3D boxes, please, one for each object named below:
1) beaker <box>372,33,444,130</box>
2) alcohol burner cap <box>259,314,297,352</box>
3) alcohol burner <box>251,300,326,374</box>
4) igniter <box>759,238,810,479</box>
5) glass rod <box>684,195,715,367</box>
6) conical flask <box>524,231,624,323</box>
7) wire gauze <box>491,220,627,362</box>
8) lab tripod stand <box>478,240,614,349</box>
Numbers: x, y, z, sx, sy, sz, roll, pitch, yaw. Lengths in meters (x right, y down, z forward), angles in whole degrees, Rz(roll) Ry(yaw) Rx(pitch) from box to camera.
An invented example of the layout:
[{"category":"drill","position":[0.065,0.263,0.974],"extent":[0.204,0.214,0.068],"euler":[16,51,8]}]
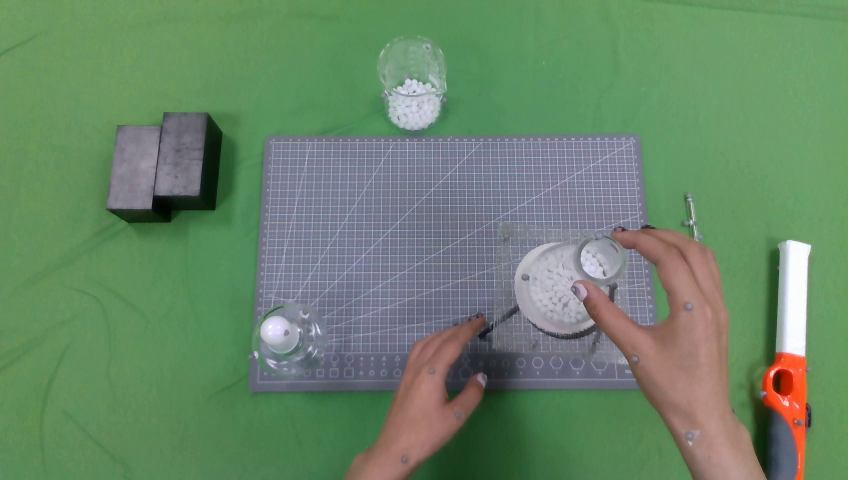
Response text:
[{"category":"beaker","position":[-0.014,-0.175,0.695],"extent":[0.084,0.100,0.074],"euler":[35,79,8]},{"category":"alcohol burner cap","position":[-0.142,0.086,0.581],"extent":[0.034,0.048,0.033],"euler":[1,69,-2]},{"category":"alcohol burner","position":[-0.142,0.097,0.616],"extent":[0.078,0.119,0.077],"euler":[0,77,1]},{"category":"igniter","position":[0.393,0.132,0.657],"extent":[0.057,0.025,0.275],"euler":[13,76,-8]},{"category":"glass rod","position":[0.311,0.043,0.688],"extent":[0.008,0.008,0.198],"euler":[-2,75,-1]},{"category":"conical flask","position":[0.128,0.026,0.496],"extent":[0.075,0.122,0.075],"euler":[0,77,0]},{"category":"wire gauze","position":[0.125,0.044,0.552],"extent":[0.125,0.011,0.121],"euler":[6,79,-1]},{"category":"lab tripod stand","position":[0.127,0.062,0.616],"extent":[0.148,0.132,0.147],"euler":[0,77,1]}]
